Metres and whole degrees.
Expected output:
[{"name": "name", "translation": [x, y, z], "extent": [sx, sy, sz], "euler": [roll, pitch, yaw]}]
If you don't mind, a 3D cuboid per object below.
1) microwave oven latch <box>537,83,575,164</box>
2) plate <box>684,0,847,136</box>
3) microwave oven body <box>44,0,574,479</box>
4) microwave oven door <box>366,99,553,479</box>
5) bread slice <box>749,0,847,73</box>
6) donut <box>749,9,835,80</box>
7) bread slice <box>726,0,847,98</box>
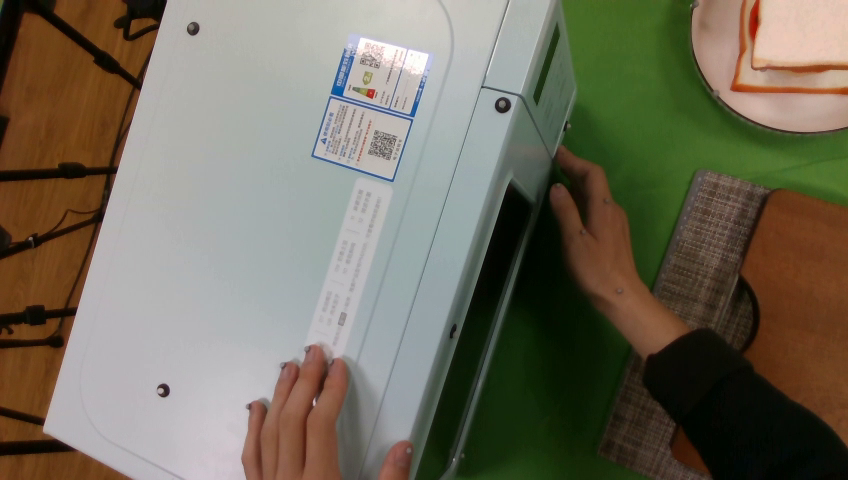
[{"name": "microwave oven latch", "translation": [0.128, -0.118, 0.605], "extent": [0.030, 0.029, 0.079], "euler": [19, 93, 17]}, {"name": "plate", "translation": [0.351, -0.197, 0.561], "extent": [0.207, 0.039, 0.207], "euler": [-1, 86, 17]}, {"name": "microwave oven body", "translation": [-0.088, 0.001, 0.562], "extent": [0.324, 0.261, 0.441], "euler": [18, 92, 17]}, {"name": "microwave oven door", "translation": [0.031, 0.083, 0.516], "extent": [0.039, 0.245, 0.355], "euler": [17, 92, 18]}, {"name": "bread slice", "translation": [0.331, -0.202, 0.507], "extent": [0.106, 0.018, 0.134], "euler": [2, 81, 18]}, {"name": "donut", "translation": [0.340, -0.192, 0.534], "extent": [0.099, 0.048, 0.099], "euler": [1, 93, 12]}, {"name": "bread slice", "translation": [0.345, -0.200, 0.564], "extent": [0.104, 0.019, 0.131], "euler": [5, 89, 15]}]
